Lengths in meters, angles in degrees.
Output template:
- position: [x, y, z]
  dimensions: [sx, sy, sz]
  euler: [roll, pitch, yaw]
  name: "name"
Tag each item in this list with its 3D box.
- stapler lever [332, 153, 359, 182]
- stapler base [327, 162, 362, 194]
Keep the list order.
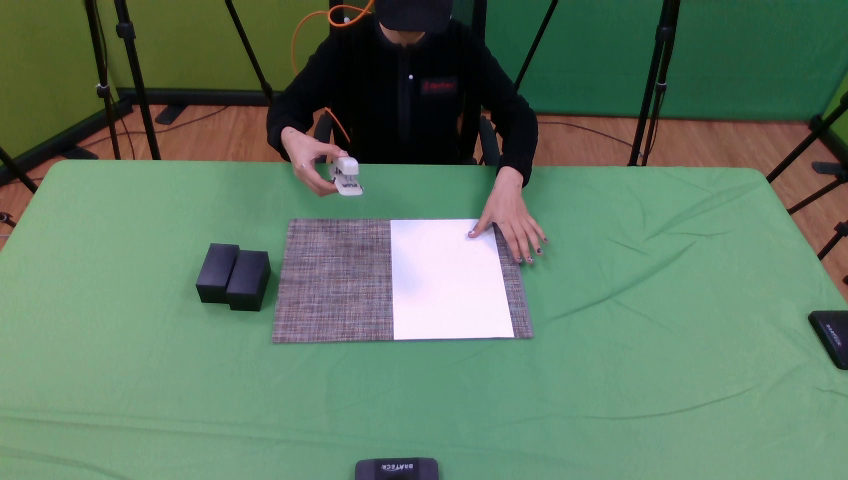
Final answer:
- position: [-0.141, -0.139, 1.081]
  dimensions: [0.027, 0.040, 0.117]
  euler: [-1, 27, -20]
  name: "stapler lever"
- position: [-0.143, -0.117, 1.091]
  dimensions: [0.041, 0.024, 0.130]
  euler: [-1, 26, -20]
  name: "stapler base"
